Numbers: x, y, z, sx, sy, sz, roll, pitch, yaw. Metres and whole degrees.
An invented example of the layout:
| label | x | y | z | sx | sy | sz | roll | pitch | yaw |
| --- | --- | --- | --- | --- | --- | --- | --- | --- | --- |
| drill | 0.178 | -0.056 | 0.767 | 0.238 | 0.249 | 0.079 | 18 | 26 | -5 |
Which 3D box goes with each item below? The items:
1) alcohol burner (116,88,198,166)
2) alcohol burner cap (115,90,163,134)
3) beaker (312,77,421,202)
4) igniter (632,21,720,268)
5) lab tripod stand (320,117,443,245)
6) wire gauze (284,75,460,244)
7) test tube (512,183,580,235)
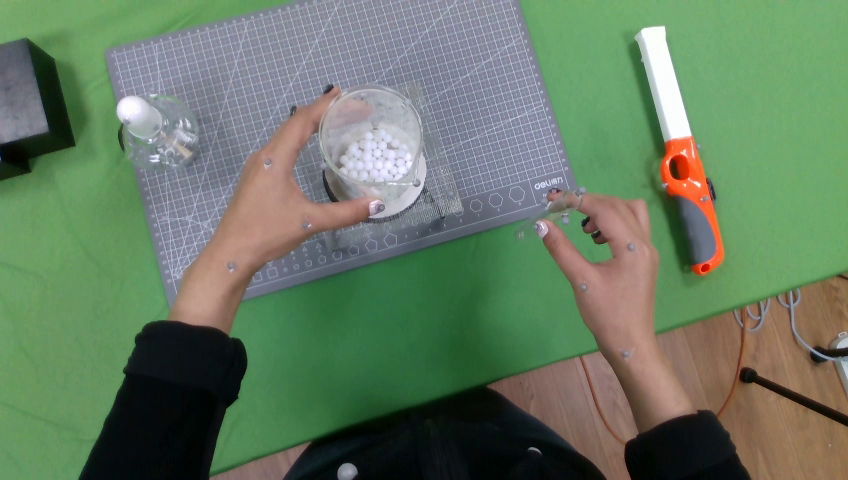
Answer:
| label | x | y | z | sx | sy | sz | roll | pitch | yaw |
| --- | --- | --- | --- | --- | --- | --- | --- | --- | --- |
| alcohol burner | -0.265 | -0.115 | 0.587 | 0.078 | 0.119 | 0.077 | 0 | 82 | -2 |
| alcohol burner cap | -0.261 | -0.118 | 0.551 | 0.034 | 0.048 | 0.034 | 1 | 85 | -8 |
| beaker | -0.038 | -0.070 | 0.472 | 0.074 | 0.100 | 0.084 | -42 | 86 | -6 |
| igniter | 0.278 | -0.107 | 0.667 | 0.057 | 0.025 | 0.276 | -11 | 85 | -14 |
| lab tripod stand | -0.050 | -0.059 | 0.585 | 0.148 | 0.131 | 0.148 | 0 | 83 | -2 |
| wire gauze | -0.045 | -0.070 | 0.521 | 0.125 | 0.011 | 0.121 | -18 | 84 | -3 |
| test tube | 0.099 | -0.023 | 0.514 | 0.017 | 0.150 | 0.017 | 1 | 81 | -6 |
